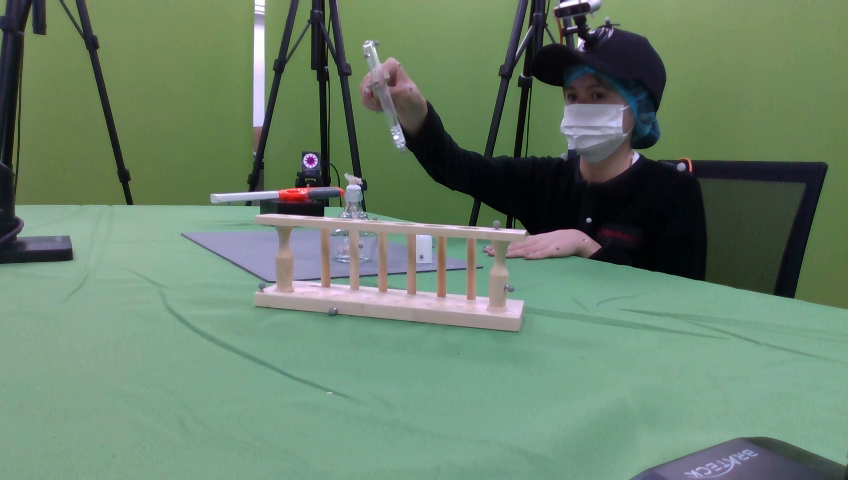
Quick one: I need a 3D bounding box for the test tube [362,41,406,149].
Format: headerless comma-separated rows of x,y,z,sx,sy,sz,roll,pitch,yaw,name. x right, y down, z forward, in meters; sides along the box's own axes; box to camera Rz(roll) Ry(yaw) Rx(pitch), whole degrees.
-0.053,-0.194,0.807,0.017,0.150,0.017,-18,-2,0,test tube

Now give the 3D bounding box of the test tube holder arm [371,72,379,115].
-0.070,-0.209,0.875,0.013,0.015,0.178,-14,0,-6,test tube holder arm

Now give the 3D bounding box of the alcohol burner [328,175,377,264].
-0.098,-0.028,0.819,0.078,0.119,0.078,1,8,0,alcohol burner

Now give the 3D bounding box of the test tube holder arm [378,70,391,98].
-0.058,-0.213,0.831,0.010,0.015,0.087,-15,0,-14,test tube holder arm

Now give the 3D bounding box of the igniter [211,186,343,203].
-0.300,-0.095,1.266,0.278,0.025,0.057,-6,12,-34,igniter

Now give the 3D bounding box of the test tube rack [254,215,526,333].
-0.030,0.025,0.557,0.242,0.085,0.067,4,7,12,test tube rack

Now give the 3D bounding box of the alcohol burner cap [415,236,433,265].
-0.004,0.011,0.835,0.034,0.048,0.034,2,7,0,alcohol burner cap
